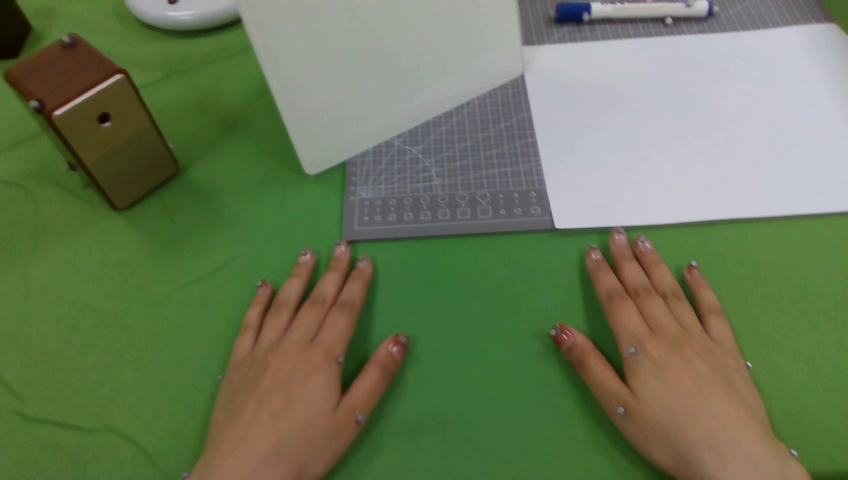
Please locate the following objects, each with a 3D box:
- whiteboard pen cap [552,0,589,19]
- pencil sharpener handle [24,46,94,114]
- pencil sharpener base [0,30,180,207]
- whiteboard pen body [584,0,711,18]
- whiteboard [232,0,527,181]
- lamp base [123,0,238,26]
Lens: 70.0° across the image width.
[{"bbox_3d":[0.139,-0.218,0.574,0.033,0.018,0.018,1,56,0],"label":"whiteboard pen cap"},{"bbox_3d":[-0.284,-0.125,0.466,0.030,0.068,0.036,36,73,24],"label":"pencil sharpener handle"},{"bbox_3d":[-0.247,-0.090,0.456,0.076,0.108,0.061,36,65,24],"label":"pencil sharpener base"},{"bbox_3d":[0.198,-0.219,0.572,0.141,0.017,0.017,-1,56,3],"label":"whiteboard pen body"},{"bbox_3d":[-0.066,-0.243,0.464,0.217,0.308,0.142,-28,40,-14],"label":"whiteboard"},{"bbox_3d":[-0.246,-0.324,0.568,0.178,0.182,0.160,32,63,25],"label":"lamp base"}]
